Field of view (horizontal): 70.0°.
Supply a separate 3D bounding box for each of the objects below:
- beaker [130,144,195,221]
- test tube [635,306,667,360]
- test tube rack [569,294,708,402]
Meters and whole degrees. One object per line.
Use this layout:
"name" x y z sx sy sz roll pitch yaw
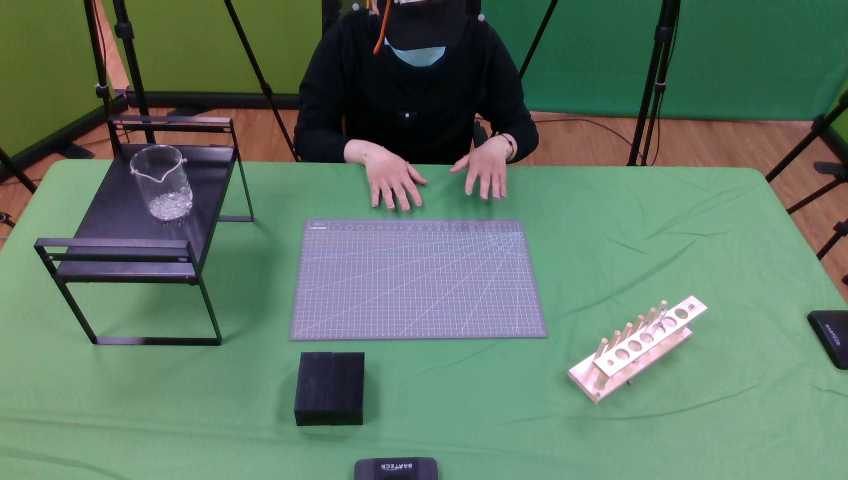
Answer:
"beaker" -0.403 -0.085 0.944 0.074 0.101 0.083 -15 49 -17
"test tube" 0.355 0.151 0.961 0.017 0.151 0.017 0 51 1
"test tube rack" 0.360 0.167 1.014 0.242 0.085 0.066 -25 53 -25
